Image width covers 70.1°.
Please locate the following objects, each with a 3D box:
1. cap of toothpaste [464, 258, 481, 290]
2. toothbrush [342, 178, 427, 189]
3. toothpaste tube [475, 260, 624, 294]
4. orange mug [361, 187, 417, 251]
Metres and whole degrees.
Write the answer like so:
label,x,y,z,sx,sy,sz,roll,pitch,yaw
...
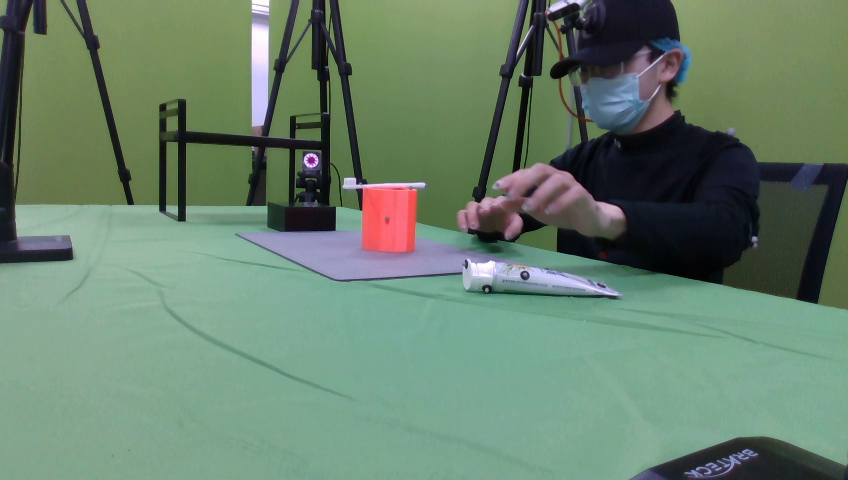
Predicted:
label,x,y,z,sx,sy,sz,roll,pitch,yaw
cap of toothpaste,0.053,0.037,0.660,0.011,0.037,0.037,-2,8,-15
toothbrush,-0.058,-0.089,0.948,0.014,0.016,0.183,6,8,41
toothpaste tube,0.133,0.045,0.668,0.165,0.034,0.055,5,14,-7
orange mug,-0.054,-0.039,0.962,0.083,0.101,0.126,2,12,0
